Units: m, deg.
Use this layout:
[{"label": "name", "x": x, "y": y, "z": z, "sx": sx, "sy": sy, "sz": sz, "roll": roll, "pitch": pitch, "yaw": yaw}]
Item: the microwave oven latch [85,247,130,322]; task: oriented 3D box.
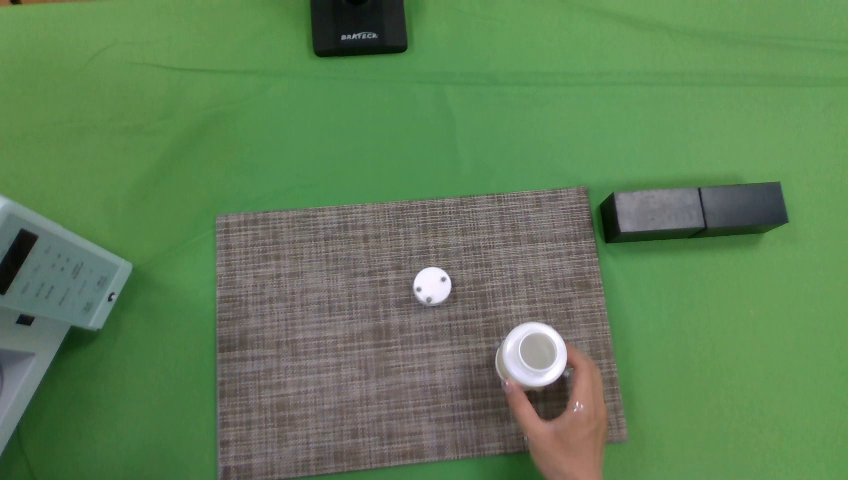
[{"label": "microwave oven latch", "x": -0.352, "y": 0.048, "z": 0.658, "sx": 0.030, "sy": 0.029, "sz": 0.079, "roll": 24, "pitch": 77, "yaw": 2}]

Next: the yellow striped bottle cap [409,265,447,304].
[{"label": "yellow striped bottle cap", "x": 0.005, "y": 0.052, "z": 0.704, "sx": 0.044, "sy": 0.019, "sz": 0.044, "roll": 0, "pitch": 77, "yaw": -2}]

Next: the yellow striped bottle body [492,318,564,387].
[{"label": "yellow striped bottle body", "x": 0.105, "y": 0.116, "z": 0.620, "sx": 0.063, "sy": 0.121, "sz": 0.062, "roll": 0, "pitch": 74, "yaw": 1}]

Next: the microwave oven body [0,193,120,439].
[{"label": "microwave oven body", "x": -0.551, "y": 0.128, "z": 0.528, "sx": 0.326, "sy": 0.261, "sz": 0.440, "roll": 22, "pitch": 77, "yaw": 2}]
